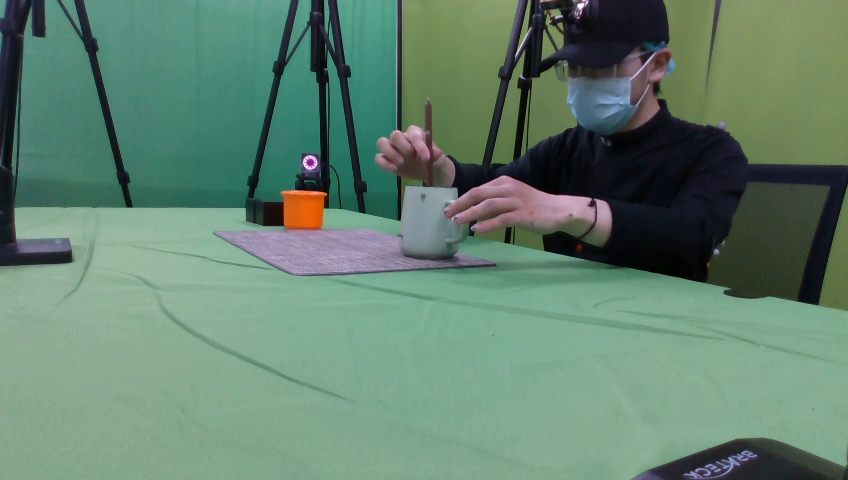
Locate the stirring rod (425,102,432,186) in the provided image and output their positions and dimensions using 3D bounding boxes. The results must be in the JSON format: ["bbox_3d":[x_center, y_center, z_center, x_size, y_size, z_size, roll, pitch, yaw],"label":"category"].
[{"bbox_3d":[0.007,-0.117,0.902,0.006,0.176,0.014,1,1,27],"label":"stirring rod"}]

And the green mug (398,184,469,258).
[{"bbox_3d":[0.020,-0.028,0.890,0.093,0.105,0.124,-4,9,-41],"label":"green mug"}]
